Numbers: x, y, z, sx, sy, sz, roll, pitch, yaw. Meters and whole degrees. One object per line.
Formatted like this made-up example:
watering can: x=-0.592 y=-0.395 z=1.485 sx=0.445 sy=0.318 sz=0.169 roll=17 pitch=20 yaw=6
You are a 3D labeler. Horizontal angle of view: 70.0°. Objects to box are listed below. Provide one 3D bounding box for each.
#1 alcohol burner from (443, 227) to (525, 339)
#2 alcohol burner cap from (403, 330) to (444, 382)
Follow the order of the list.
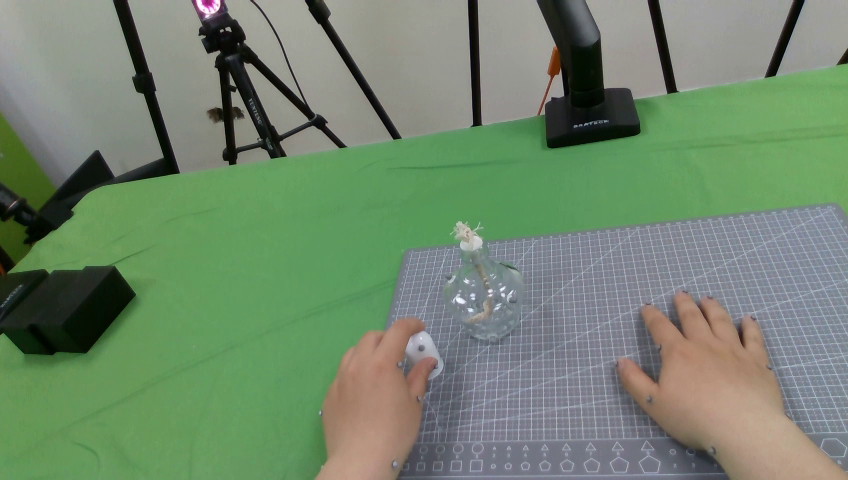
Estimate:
alcohol burner: x=0.052 y=0.035 z=0.555 sx=0.078 sy=0.120 sz=0.077 roll=-10 pitch=38 yaw=8
alcohol burner cap: x=-0.002 y=0.102 z=0.551 sx=0.034 sy=0.048 sz=0.033 roll=-11 pitch=38 yaw=9
